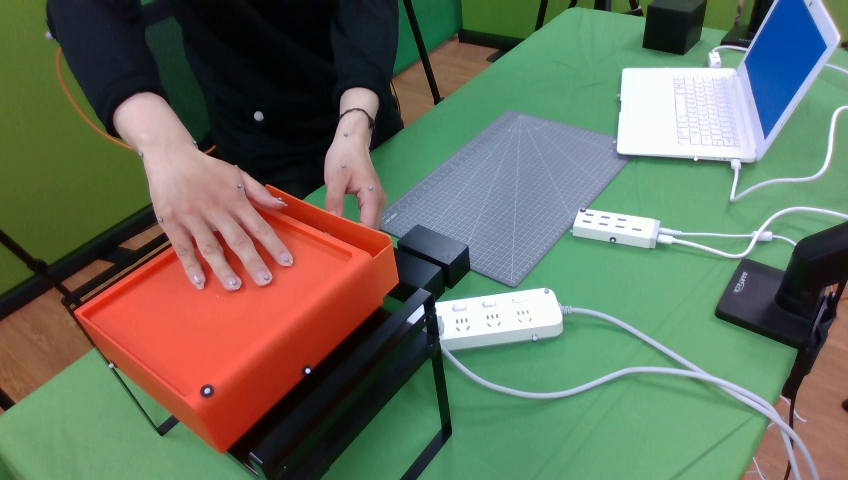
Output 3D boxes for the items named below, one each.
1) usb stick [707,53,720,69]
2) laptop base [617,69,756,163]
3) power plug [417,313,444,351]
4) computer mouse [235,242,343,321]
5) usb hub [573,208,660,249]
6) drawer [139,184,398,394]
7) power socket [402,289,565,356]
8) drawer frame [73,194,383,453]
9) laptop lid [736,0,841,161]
[{"bbox_3d":[0.629,-0.382,1.313,0.021,0.027,0.059,2,45,17],"label":"usb stick"},{"bbox_3d":[0.509,-0.255,1.201,0.234,0.023,0.353,4,41,16],"label":"laptop base"},{"bbox_3d":[0.007,0.127,0.786,0.035,0.053,0.072,0,43,9],"label":"power plug"},{"bbox_3d":[-0.145,0.040,0.644,0.116,0.041,0.063,24,47,27],"label":"computer mouse"},{"bbox_3d":[0.302,-0.019,0.950,0.124,0.025,0.049,11,43,20],"label":"usb hub"},{"bbox_3d":[-0.166,0.047,0.618,0.193,0.073,0.212,23,49,30],"label":"drawer"},{"bbox_3d":[0.081,0.112,0.822,0.227,0.033,0.072,-7,41,0],"label":"power socket"},{"bbox_3d":[-0.184,0.066,0.598,0.200,0.083,0.214,23,50,30],"label":"drawer frame"},{"bbox_3d":[0.641,-0.327,1.090,0.013,0.242,0.356,17,43,5],"label":"laptop lid"}]
